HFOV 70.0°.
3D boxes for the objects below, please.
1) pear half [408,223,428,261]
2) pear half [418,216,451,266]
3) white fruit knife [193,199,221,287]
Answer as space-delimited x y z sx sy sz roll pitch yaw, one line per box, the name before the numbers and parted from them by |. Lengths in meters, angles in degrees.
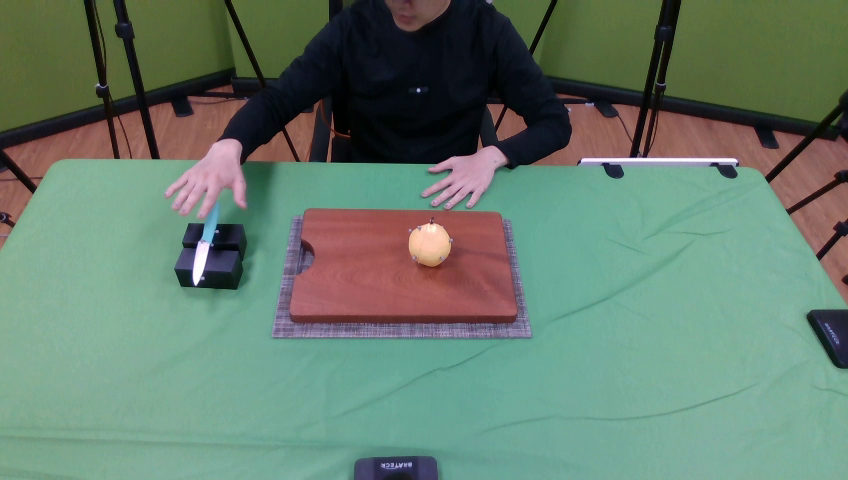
pear half | -0.013 -0.001 1.107 0.031 0.088 0.070 8 53 2
pear half | 0.023 -0.001 1.097 0.056 0.110 0.076 9 50 3
white fruit knife | -0.396 0.002 1.103 0.027 0.016 0.206 -8 51 5
